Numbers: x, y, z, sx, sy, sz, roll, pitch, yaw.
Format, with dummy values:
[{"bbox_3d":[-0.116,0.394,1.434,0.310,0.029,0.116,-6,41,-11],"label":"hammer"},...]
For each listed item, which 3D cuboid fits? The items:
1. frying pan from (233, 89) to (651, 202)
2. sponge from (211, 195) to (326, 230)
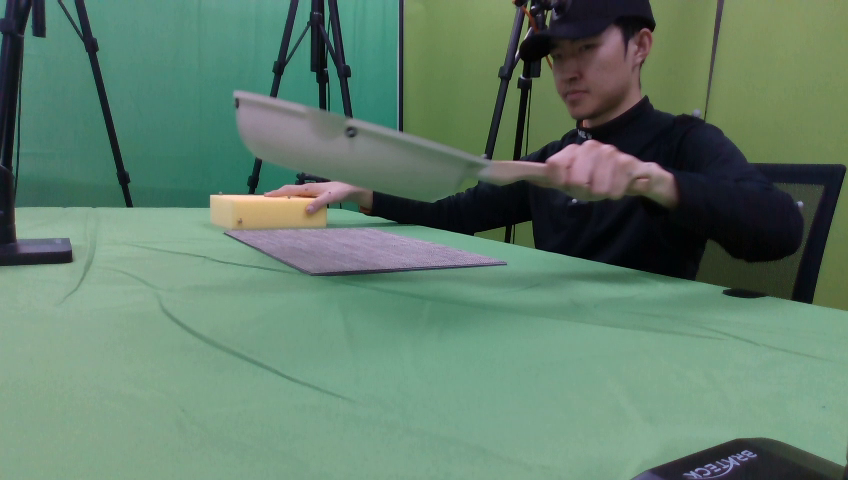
[{"bbox_3d":[0.019,-0.096,0.713,0.488,0.102,0.307,7,7,6],"label":"frying pan"},{"bbox_3d":[-0.320,-0.060,1.254,0.208,0.061,0.117,-4,9,-39],"label":"sponge"}]
